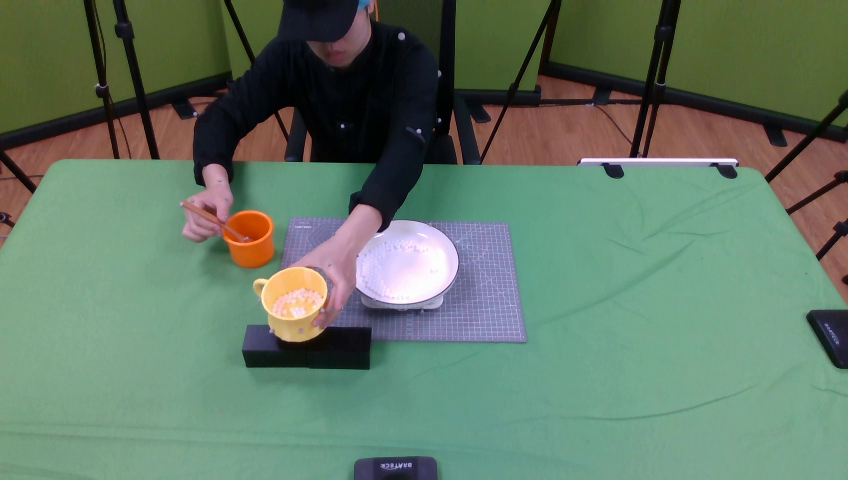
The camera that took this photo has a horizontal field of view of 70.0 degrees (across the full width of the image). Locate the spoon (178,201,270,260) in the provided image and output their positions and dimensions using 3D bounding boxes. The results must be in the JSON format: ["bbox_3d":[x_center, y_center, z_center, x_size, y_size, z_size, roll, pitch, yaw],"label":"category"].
[{"bbox_3d":[-0.356,-0.019,1.091,0.021,0.195,0.041,-28,43,22],"label":"spoon"}]

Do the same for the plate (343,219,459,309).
[{"bbox_3d":[-0.041,0.046,1.094,0.209,0.038,0.208,2,46,-1],"label":"plate"}]

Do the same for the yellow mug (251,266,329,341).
[{"bbox_3d":[-0.216,0.094,0.951,0.130,0.064,0.099,19,52,13],"label":"yellow mug"}]

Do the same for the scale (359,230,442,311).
[{"bbox_3d":[-0.043,0.047,1.138,0.149,0.032,0.199,2,46,-4],"label":"scale"}]
